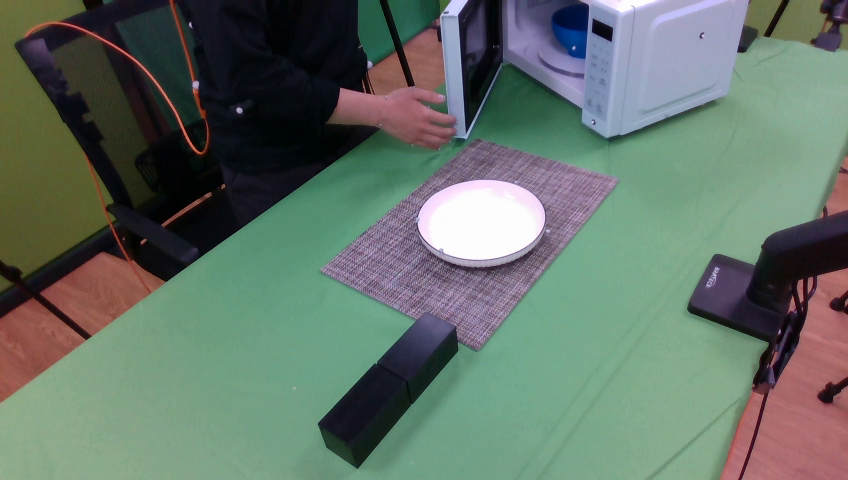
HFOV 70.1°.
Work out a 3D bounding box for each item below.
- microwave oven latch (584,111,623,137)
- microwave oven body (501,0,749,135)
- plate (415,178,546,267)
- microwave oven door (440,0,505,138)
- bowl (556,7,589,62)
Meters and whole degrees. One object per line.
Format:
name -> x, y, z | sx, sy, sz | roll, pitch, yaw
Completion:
microwave oven latch -> 0.337, -0.222, 1.142 | 0.030, 0.029, 0.078 | -21, 42, -14
microwave oven body -> 0.382, -0.444, 1.246 | 0.327, 0.261, 0.437 | -22, 42, -16
plate -> 0.091, -0.026, 0.970 | 0.207, 0.039, 0.206 | -4, 41, 4
microwave oven door -> 0.108, -0.405, 1.230 | 0.039, 0.245, 0.355 | 7, 43, 17
bowl -> 0.353, -0.430, 1.285 | 0.151, 0.077, 0.150 | -1, 41, 1
